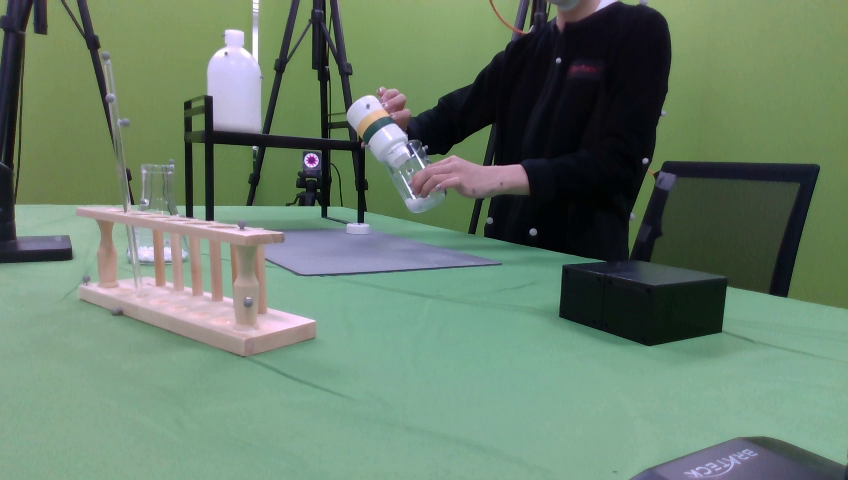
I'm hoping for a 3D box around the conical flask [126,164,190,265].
[{"bbox_3d":[-0.332,-0.033,0.756,0.075,0.122,0.075,2,7,0],"label":"conical flask"}]

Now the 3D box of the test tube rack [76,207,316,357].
[{"bbox_3d":[-0.196,0.023,0.500,0.241,0.085,0.067,8,9,36],"label":"test tube rack"}]

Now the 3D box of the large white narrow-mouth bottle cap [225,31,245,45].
[{"bbox_3d":[-0.365,-0.389,1.166,0.038,0.024,0.037,2,9,0],"label":"large white narrow-mouth bottle cap"}]

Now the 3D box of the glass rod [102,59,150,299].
[{"bbox_3d":[-0.243,-0.045,0.496,0.008,0.199,0.008,-4,13,1],"label":"glass rod"}]

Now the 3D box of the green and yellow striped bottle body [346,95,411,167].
[{"bbox_3d":[-0.072,-0.178,1.007,0.063,0.119,0.063,-35,-14,-10],"label":"green and yellow striped bottle body"}]

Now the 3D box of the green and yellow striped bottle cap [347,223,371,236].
[{"bbox_3d":[-0.122,-0.021,1.132,0.045,0.020,0.045,1,9,0],"label":"green and yellow striped bottle cap"}]

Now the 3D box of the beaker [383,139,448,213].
[{"bbox_3d":[-0.013,-0.101,0.975,0.074,0.100,0.084,-33,-12,16],"label":"beaker"}]

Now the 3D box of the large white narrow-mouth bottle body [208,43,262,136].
[{"bbox_3d":[-0.368,-0.304,1.181,0.102,0.194,0.101,2,9,0],"label":"large white narrow-mouth bottle body"}]
